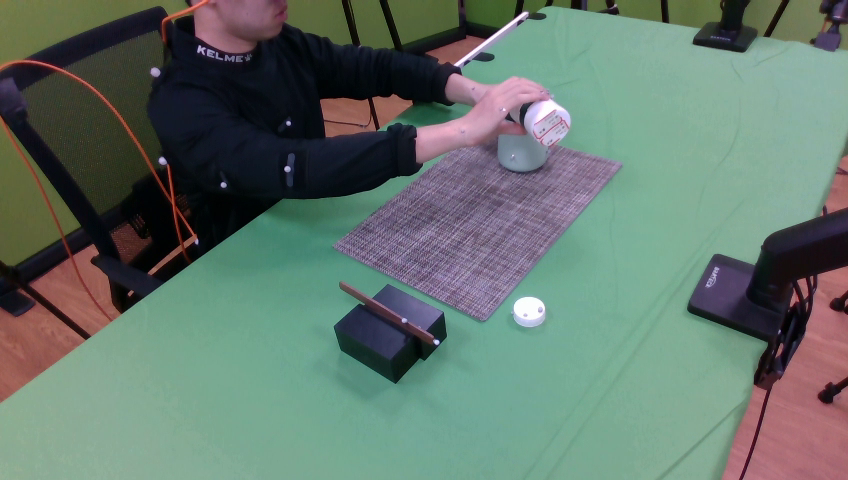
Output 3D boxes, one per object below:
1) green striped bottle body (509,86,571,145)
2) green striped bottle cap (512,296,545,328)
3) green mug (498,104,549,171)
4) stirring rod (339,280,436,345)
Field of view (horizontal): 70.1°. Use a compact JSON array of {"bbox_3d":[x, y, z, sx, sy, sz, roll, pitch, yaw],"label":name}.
[{"bbox_3d":[0.180,-0.206,0.974,0.063,0.063,0.118,-17,39,-11],"label":"green striped bottle body"},{"bbox_3d":[0.144,0.099,0.837,0.044,0.020,0.044,-2,44,2],"label":"green striped bottle cap"},{"bbox_3d":[0.182,-0.197,1.101,0.092,0.105,0.125,3,42,12],"label":"green mug"},{"bbox_3d":[-0.052,0.093,0.795,0.174,0.014,0.006,27,47,33],"label":"stirring rod"}]
